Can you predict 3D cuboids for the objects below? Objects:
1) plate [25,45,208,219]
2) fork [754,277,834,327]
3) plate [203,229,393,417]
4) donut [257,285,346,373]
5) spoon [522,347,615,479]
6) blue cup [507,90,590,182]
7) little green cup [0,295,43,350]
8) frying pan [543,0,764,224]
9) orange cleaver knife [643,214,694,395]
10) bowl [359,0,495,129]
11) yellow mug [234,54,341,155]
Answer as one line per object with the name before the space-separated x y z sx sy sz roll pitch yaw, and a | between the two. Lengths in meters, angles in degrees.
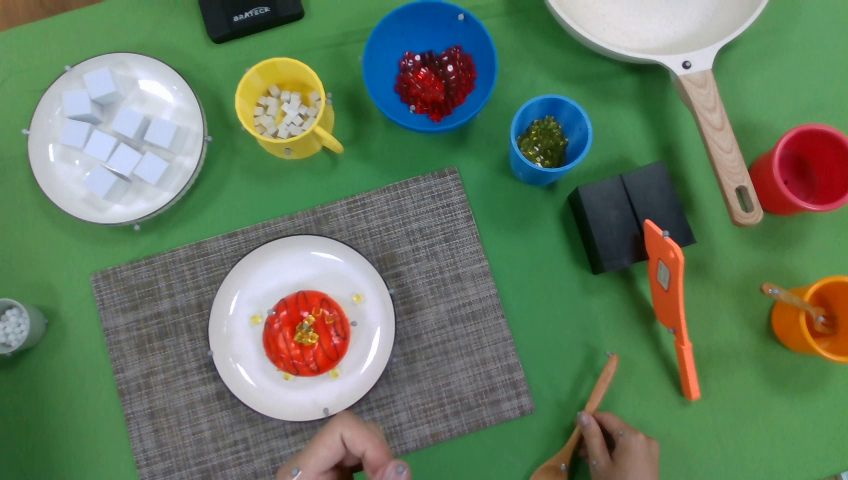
plate | -0.356 -0.124 0.714 0.208 0.039 0.207 0 83 0
fork | 0.391 0.065 0.634 0.209 0.018 0.028 19 80 -41
plate | -0.138 0.092 0.684 0.209 0.038 0.208 0 84 0
donut | -0.135 0.099 0.672 0.099 0.048 0.099 0 87 0
spoon | 0.165 0.206 0.672 0.041 0.022 0.194 29 93 8
blue cup | 0.131 -0.107 0.679 0.092 0.100 0.092 0 80 0
little green cup | -0.469 0.093 0.687 0.061 0.039 0.061 0 84 -1
frying pan | 0.283 -0.247 0.695 0.307 0.103 0.485 -12 75 0
orange cleaver knife | 0.267 0.073 0.667 0.012 0.076 0.213 -17 112 -2
bowl | 0.004 -0.192 0.702 0.151 0.077 0.151 0 83 0
yellow mug | -0.149 -0.146 0.703 0.130 0.064 0.100 36 84 3
